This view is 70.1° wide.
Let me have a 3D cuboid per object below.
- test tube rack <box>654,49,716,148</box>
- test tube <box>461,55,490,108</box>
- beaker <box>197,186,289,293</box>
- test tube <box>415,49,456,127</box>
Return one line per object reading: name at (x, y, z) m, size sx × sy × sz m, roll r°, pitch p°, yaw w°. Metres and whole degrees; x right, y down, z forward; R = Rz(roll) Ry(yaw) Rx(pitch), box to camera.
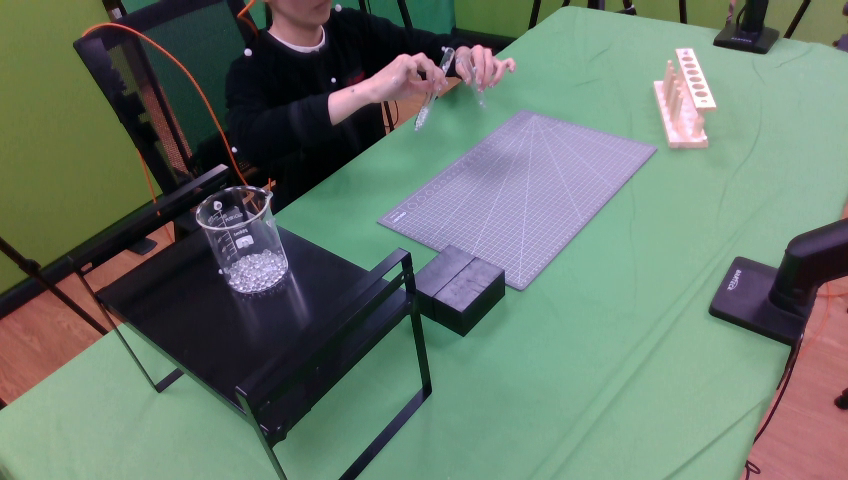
test tube rack at (0.502, -0.281, 1.176) m, size 0.066 × 0.085 × 0.241 m, roll 1°, pitch 41°, yaw 11°
test tube at (0.095, -0.283, 1.093) m, size 0.017 × 0.151 × 0.017 m, roll -8°, pitch 66°, yaw 19°
beaker at (-0.192, 0.001, 0.666) m, size 0.084 × 0.101 × 0.073 m, roll -33°, pitch 47°, yaw -27°
test tube at (0.019, -0.246, 0.978) m, size 0.017 × 0.017 × 0.150 m, roll 16°, pitch 72°, yaw 24°
